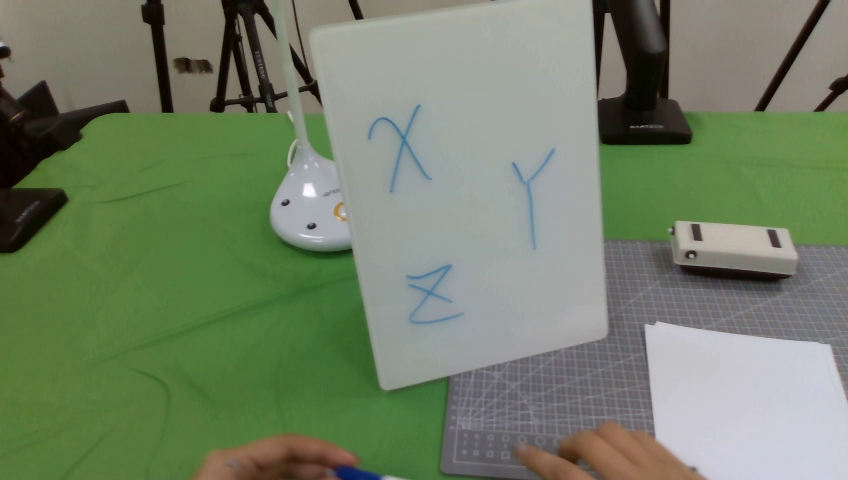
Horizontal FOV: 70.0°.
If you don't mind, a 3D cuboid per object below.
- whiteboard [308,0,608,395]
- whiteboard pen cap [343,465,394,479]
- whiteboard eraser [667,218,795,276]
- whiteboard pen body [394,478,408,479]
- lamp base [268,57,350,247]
[{"bbox_3d":[0.031,-0.050,0.554,0.217,0.307,0.142,-12,20,-8],"label":"whiteboard"},{"bbox_3d":[-0.035,0.157,0.391,0.033,0.018,0.018,10,40,3],"label":"whiteboard pen cap"},{"bbox_3d":[0.310,0.008,0.620,0.112,0.042,0.055,6,40,12],"label":"whiteboard eraser"},{"bbox_3d":[0.024,0.169,0.385,0.140,0.017,0.017,11,40,8],"label":"whiteboard pen body"},{"bbox_3d":[-0.122,-0.109,0.697,0.160,0.182,0.177,-31,43,-30],"label":"lamp base"}]
